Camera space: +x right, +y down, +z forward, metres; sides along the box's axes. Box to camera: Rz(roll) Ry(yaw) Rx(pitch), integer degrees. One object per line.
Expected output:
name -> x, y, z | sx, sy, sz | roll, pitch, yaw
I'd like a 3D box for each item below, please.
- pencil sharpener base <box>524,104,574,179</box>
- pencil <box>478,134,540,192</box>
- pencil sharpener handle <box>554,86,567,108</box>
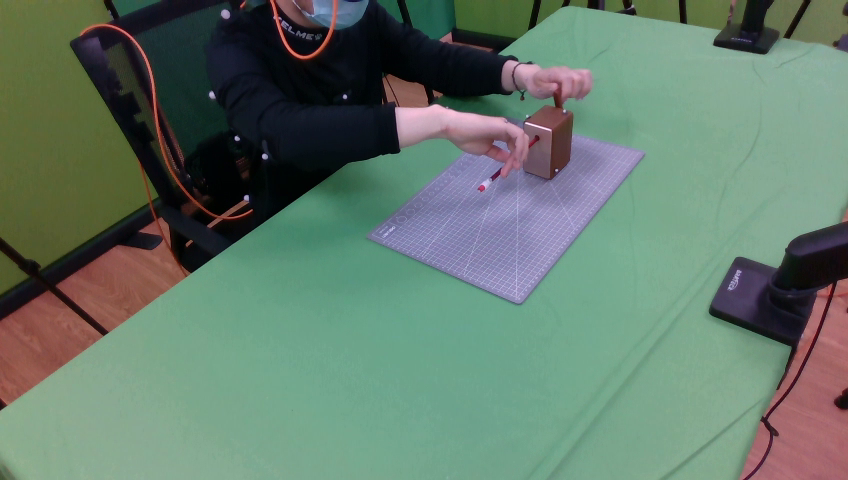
pencil sharpener base -> 0.221, -0.175, 1.071 | 0.061, 0.107, 0.077 | 24, 49, 32
pencil -> 0.148, -0.134, 0.995 | 0.012, 0.012, 0.194 | 25, 52, 32
pencil sharpener handle -> 0.247, -0.237, 1.073 | 0.035, 0.068, 0.031 | 15, 44, 40
